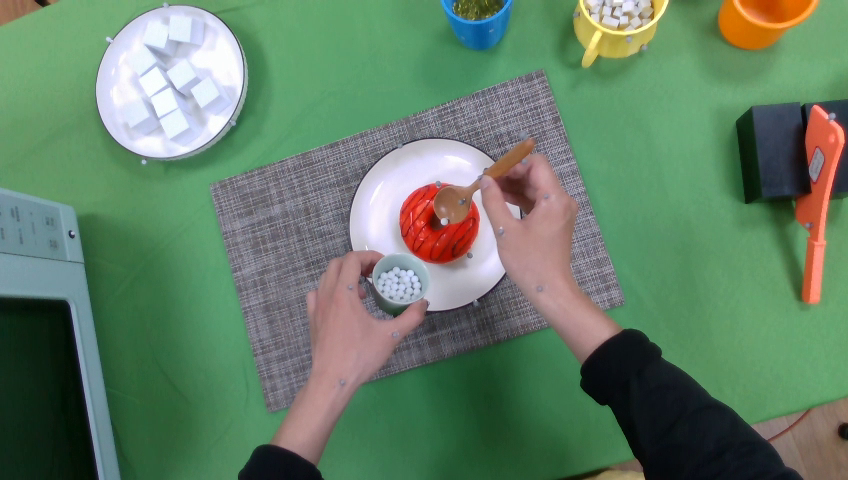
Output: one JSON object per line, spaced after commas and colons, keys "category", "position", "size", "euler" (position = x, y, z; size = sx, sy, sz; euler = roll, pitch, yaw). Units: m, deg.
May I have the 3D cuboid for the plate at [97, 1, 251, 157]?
{"category": "plate", "position": [-0.322, -0.207, 0.795], "size": [0.207, 0.039, 0.207], "euler": [-1, 84, 8]}

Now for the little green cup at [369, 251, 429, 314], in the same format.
{"category": "little green cup", "position": [-0.028, 0.047, 0.637], "size": [0.062, 0.039, 0.061], "euler": [6, 57, -9]}

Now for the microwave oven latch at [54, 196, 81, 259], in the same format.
{"category": "microwave oven latch", "position": [-0.465, -0.014, 0.776], "size": [0.030, 0.029, 0.079], "euler": [-13, 83, 6]}

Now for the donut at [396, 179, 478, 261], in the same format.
{"category": "donut", "position": [0.016, -0.024, 0.711], "size": [0.099, 0.048, 0.099], "euler": [-1, 85, 9]}

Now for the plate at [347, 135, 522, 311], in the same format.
{"category": "plate", "position": [0.012, -0.020, 0.723], "size": [0.209, 0.038, 0.208], "euler": [-1, 84, 8]}

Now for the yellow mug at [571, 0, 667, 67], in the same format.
{"category": "yellow mug", "position": [0.218, -0.261, 0.708], "size": [0.099, 0.064, 0.131], "euler": [31, 90, 10]}

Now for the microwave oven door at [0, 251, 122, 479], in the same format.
{"category": "microwave oven door", "position": [-0.430, 0.185, 0.646], "size": [0.039, 0.245, 0.354], "euler": [-15, 82, 6]}

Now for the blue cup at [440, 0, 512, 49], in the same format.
{"category": "blue cup", "position": [0.064, -0.274, 0.714], "size": [0.092, 0.100, 0.092], "euler": [-1, 85, 7]}

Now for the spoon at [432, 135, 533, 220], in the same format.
{"category": "spoon", "position": [0.052, -0.056, 0.583], "size": [0.021, 0.193, 0.041], "euler": [-34, 91, -23]}

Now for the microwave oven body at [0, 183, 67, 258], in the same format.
{"category": "microwave oven body", "position": [-0.579, 0.182, 0.673], "size": [0.326, 0.261, 0.440], "euler": [-15, 83, 6]}

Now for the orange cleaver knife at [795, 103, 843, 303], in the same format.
{"category": "orange cleaver knife", "position": [0.415, -0.036, 0.648], "size": [0.012, 0.077, 0.213], "euler": [-3, 113, 10]}
